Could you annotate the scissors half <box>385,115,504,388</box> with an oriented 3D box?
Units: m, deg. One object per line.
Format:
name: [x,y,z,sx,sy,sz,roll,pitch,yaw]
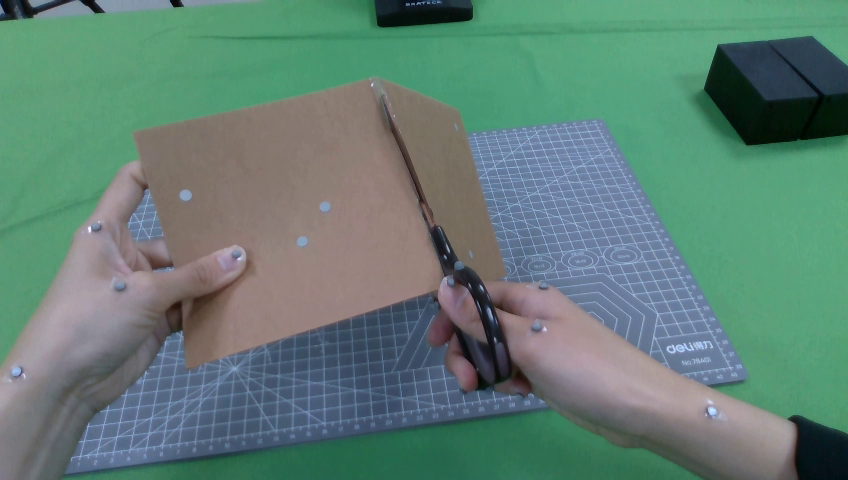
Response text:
scissors half: [0.005,-0.006,0.319,0.013,0.040,0.173,-18,63,-9]

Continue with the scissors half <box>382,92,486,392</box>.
scissors half: [0.003,0.001,0.341,0.013,0.040,0.175,-17,91,-14]

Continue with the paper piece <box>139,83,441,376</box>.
paper piece: [-0.070,-0.012,0.327,0.136,0.004,0.134,-16,78,-12]

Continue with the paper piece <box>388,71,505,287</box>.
paper piece: [0.019,-0.034,0.407,0.008,0.136,0.138,-12,-2,23]
